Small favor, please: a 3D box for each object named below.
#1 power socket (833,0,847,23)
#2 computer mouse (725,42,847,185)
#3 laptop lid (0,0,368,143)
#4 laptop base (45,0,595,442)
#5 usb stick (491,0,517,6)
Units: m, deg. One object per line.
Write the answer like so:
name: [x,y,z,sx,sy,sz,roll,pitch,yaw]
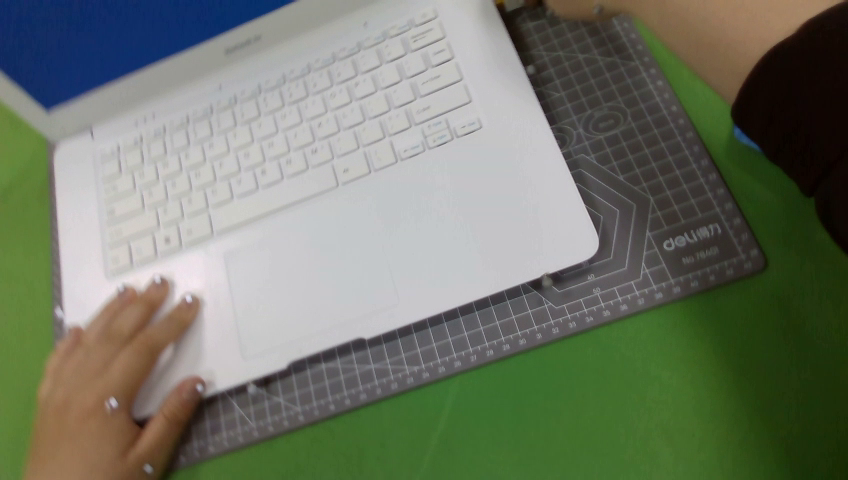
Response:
power socket: [0.269,-0.190,0.363,0.072,0.033,0.225,-19,67,9]
computer mouse: [0.231,-0.068,0.330,0.116,0.041,0.063,33,84,26]
laptop lid: [-0.164,-0.196,0.361,0.356,0.244,0.013,-22,54,8]
laptop base: [-0.094,-0.033,0.413,0.354,0.023,0.233,-22,71,7]
usb stick: [0.061,-0.179,0.410,0.059,0.027,0.021,-21,70,9]
